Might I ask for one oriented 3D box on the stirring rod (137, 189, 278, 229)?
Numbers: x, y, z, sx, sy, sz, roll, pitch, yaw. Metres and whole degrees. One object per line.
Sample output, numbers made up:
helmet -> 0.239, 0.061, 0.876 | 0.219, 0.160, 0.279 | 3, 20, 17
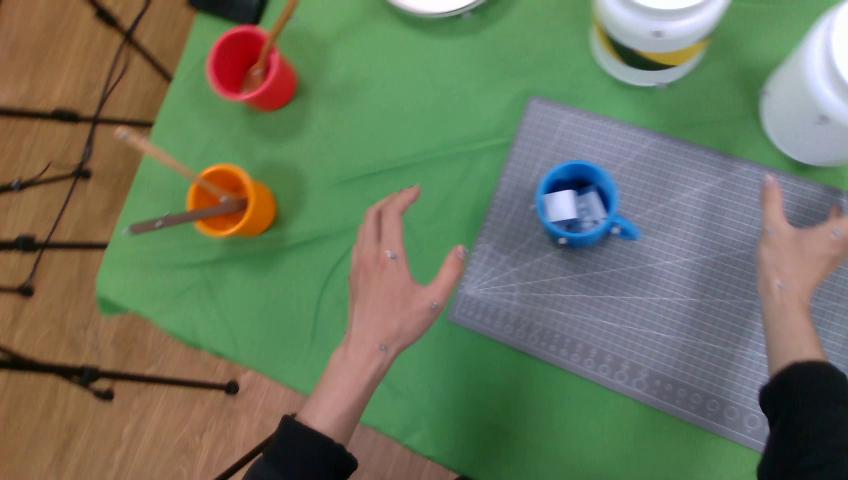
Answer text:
stirring rod -> -0.267, -0.040, 0.761 | 0.177, 0.006, 0.014 | -17, 83, -32

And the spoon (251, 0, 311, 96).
spoon -> -0.179, -0.243, 0.755 | 0.194, 0.022, 0.041 | -37, 69, 52

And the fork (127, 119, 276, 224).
fork -> -0.275, -0.084, 0.760 | 0.209, 0.018, 0.028 | 37, 93, -30

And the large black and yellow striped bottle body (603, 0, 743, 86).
large black and yellow striped bottle body -> 0.260, -0.253, 0.635 | 0.130, 0.185, 0.130 | -1, 84, 13

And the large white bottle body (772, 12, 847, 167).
large white bottle body -> 0.434, -0.152, 0.586 | 0.130, 0.185, 0.130 | -1, 85, 13

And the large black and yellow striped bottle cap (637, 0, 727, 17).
large black and yellow striped bottle cap -> 0.241, -0.263, 0.554 | 0.115, 0.019, 0.115 | -1, 86, 12

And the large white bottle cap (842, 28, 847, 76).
large white bottle cap -> 0.415, -0.161, 0.504 | 0.114, 0.018, 0.114 | -1, 85, 12

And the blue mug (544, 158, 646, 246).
blue mug -> 0.191, -0.031, 0.670 | 0.116, 0.106, 0.082 | 30, 92, 14

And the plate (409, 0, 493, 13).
plate -> 0.044, -0.387, 0.771 | 0.207, 0.039, 0.207 | -1, 85, 13
